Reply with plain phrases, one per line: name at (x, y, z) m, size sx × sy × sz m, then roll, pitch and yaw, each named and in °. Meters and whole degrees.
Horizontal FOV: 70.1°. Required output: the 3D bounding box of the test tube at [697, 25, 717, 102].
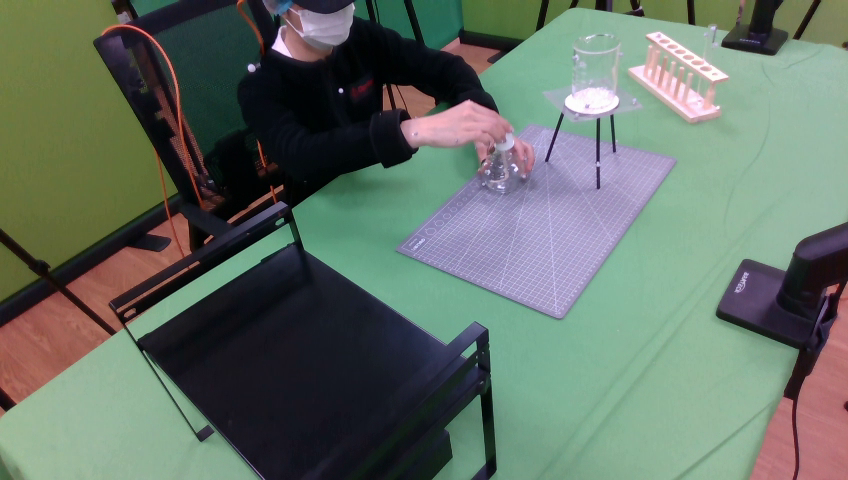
test tube at (0.546, -0.337, 1.166) m, size 0.017 × 0.151 × 0.017 m, roll -5°, pitch 36°, yaw 4°

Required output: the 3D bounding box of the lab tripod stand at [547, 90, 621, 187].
lab tripod stand at (0.289, -0.184, 1.062) m, size 0.148 × 0.132 × 0.147 m, roll -6°, pitch 41°, yaw 6°

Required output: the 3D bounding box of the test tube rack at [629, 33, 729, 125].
test tube rack at (0.516, -0.337, 1.247) m, size 0.067 × 0.085 × 0.240 m, roll -14°, pitch 41°, yaw -7°

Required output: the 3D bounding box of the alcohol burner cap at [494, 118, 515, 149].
alcohol burner cap at (0.129, -0.176, 0.987) m, size 0.034 × 0.048 × 0.033 m, roll -9°, pitch 45°, yaw 10°

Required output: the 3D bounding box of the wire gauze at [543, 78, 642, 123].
wire gauze at (0.282, -0.234, 1.021) m, size 0.125 × 0.011 × 0.120 m, roll -17°, pitch 38°, yaw -4°

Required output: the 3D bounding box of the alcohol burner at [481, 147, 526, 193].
alcohol burner at (0.138, -0.142, 1.052) m, size 0.078 × 0.119 × 0.077 m, roll -5°, pitch 42°, yaw 5°

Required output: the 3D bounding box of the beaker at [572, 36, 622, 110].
beaker at (0.279, -0.274, 0.992) m, size 0.074 × 0.101 × 0.083 m, roll -14°, pitch 40°, yaw -5°
